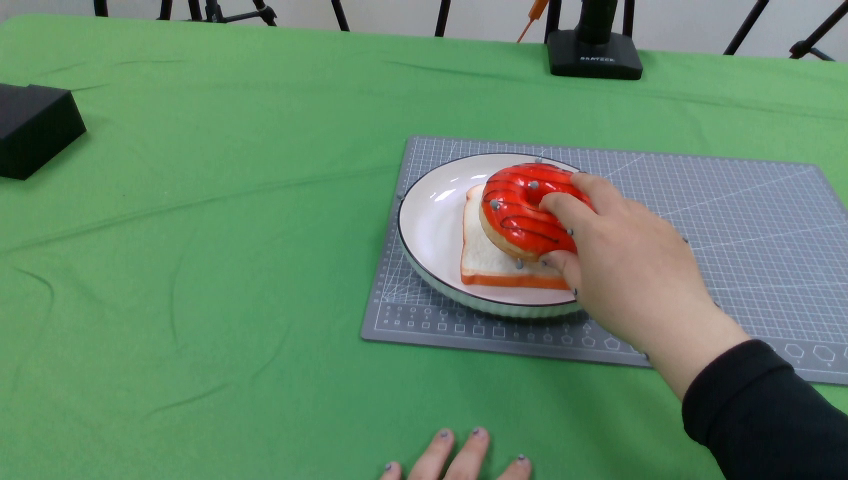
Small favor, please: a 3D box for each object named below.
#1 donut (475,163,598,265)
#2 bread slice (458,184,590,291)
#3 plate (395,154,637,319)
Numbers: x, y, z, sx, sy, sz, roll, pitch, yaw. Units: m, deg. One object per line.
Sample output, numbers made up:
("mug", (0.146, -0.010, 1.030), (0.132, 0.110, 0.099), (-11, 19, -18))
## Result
("donut", (0.090, -0.021, 0.484), (0.099, 0.048, 0.098), (3, 48, -3))
("bread slice", (0.081, -0.007, 0.542), (0.107, 0.018, 0.133), (2, 42, -3))
("plate", (0.079, -0.004, 0.537), (0.209, 0.038, 0.207), (2, 42, -1))
